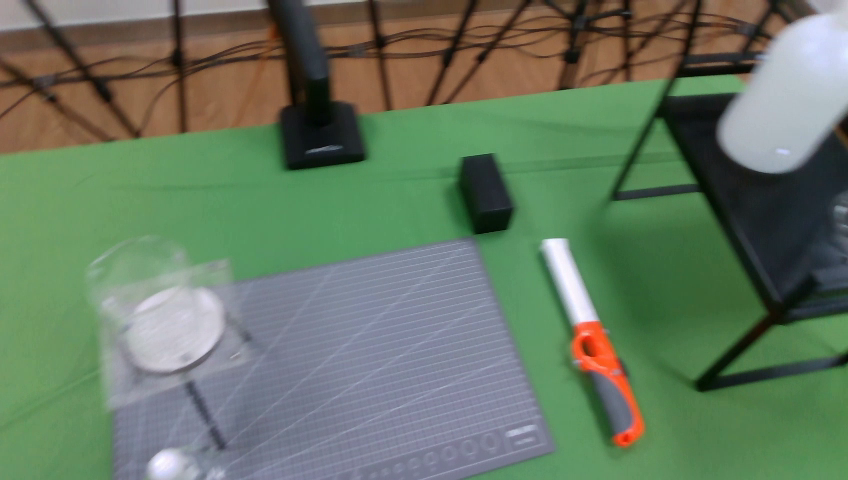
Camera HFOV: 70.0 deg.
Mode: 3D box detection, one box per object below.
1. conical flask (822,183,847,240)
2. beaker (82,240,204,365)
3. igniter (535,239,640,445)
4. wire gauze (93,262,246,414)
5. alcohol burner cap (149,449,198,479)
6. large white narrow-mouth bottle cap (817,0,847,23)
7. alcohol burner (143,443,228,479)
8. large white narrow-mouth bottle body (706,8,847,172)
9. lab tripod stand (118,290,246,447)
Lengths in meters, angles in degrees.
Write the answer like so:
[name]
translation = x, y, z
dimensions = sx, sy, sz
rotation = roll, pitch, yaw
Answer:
[conical flask]
translation = 0.467, -0.055, 0.603
dimensions = 0.075, 0.123, 0.074
rotation = 3, 54, -3
[beaker]
translation = -0.238, 0.058, 0.524
dimensions = 0.084, 0.101, 0.073
rotation = 10, 54, 1
[igniter]
translation = 0.195, 0.112, 0.737
dimensions = 0.057, 0.025, 0.273
rotation = -2, 54, -20
[wire gauze]
translation = -0.239, 0.084, 0.565
dimensions = 0.122, 0.011, 0.124
rotation = -16, 61, -15
[alcohol burner cap]
translation = -0.222, 0.201, 0.531
dimensions = 0.034, 0.048, 0.033
rotation = 1, 59, -1
[large white narrow-mouth bottle cap]
translation = 0.388, -0.221, 0.562
dimensions = 0.038, 0.024, 0.037
rotation = 3, 54, -3
[alcohol burner]
translation = -0.225, 0.221, 0.561
dimensions = 0.078, 0.120, 0.077
rotation = 4, 52, -4
[large white narrow-mouth bottle body]
translation = 0.382, -0.169, 0.632
dimensions = 0.102, 0.196, 0.101
rotation = 3, 54, -3
[lab tripod stand]
translation = -0.239, 0.125, 0.616
dimensions = 0.148, 0.132, 0.147
rotation = 4, 54, -5
